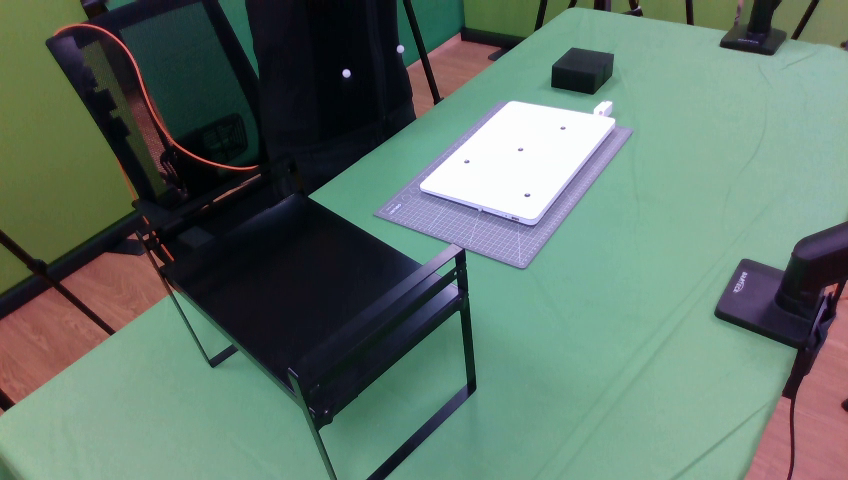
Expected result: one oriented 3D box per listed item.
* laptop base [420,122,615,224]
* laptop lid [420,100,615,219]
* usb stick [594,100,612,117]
[{"bbox_3d":[0.184,-0.157,1.132,0.234,0.023,0.355,17,46,31],"label":"laptop base"},{"bbox_3d":[0.180,-0.166,1.125,0.240,0.013,0.357,20,47,31],"label":"laptop lid"},{"bbox_3d":[0.353,-0.254,1.204,0.021,0.027,0.059,21,47,30],"label":"usb stick"}]
